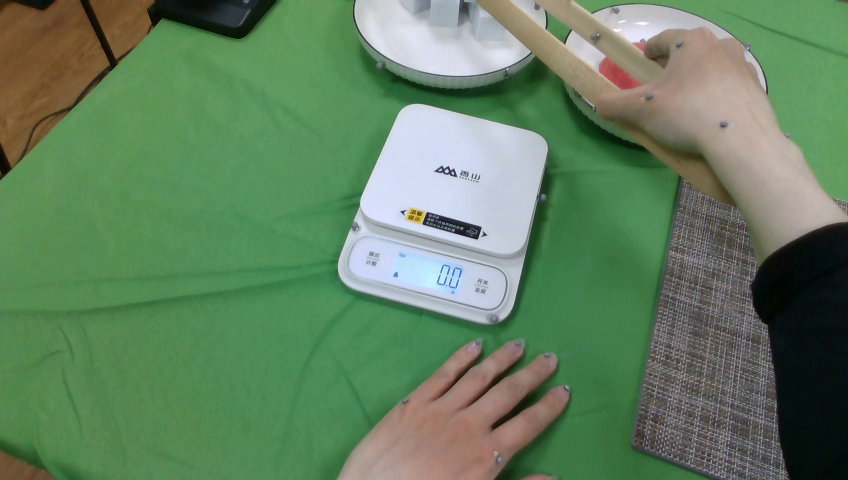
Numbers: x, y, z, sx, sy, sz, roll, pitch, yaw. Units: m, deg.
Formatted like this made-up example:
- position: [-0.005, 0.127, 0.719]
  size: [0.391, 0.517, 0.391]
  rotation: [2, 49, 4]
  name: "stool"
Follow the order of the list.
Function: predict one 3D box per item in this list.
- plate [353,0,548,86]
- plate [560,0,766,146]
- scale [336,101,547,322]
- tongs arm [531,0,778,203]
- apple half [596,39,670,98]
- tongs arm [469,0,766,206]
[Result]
- position: [0.028, -0.237, 0.660]
  size: [0.208, 0.039, 0.205]
  rotation: [1, 57, -2]
  name: "plate"
- position: [0.241, -0.170, 0.627]
  size: [0.209, 0.038, 0.207]
  rotation: [2, 56, -2]
  name: "plate"
- position: [0.021, -0.033, 0.530]
  size: [0.148, 0.032, 0.199]
  rotation: [14, 58, 6]
  name: "scale"
- position: [0.154, -0.167, 0.532]
  size: [0.051, 0.027, 0.380]
  rotation: [-19, 53, -26]
  name: "tongs arm"
- position: [0.224, -0.185, 0.630]
  size: [0.081, 0.033, 0.080]
  rotation: [1, 53, -1]
  name: "apple half"
- position: [0.122, -0.156, 0.517]
  size: [0.028, 0.028, 0.383]
  rotation: [-17, 52, -29]
  name: "tongs arm"
